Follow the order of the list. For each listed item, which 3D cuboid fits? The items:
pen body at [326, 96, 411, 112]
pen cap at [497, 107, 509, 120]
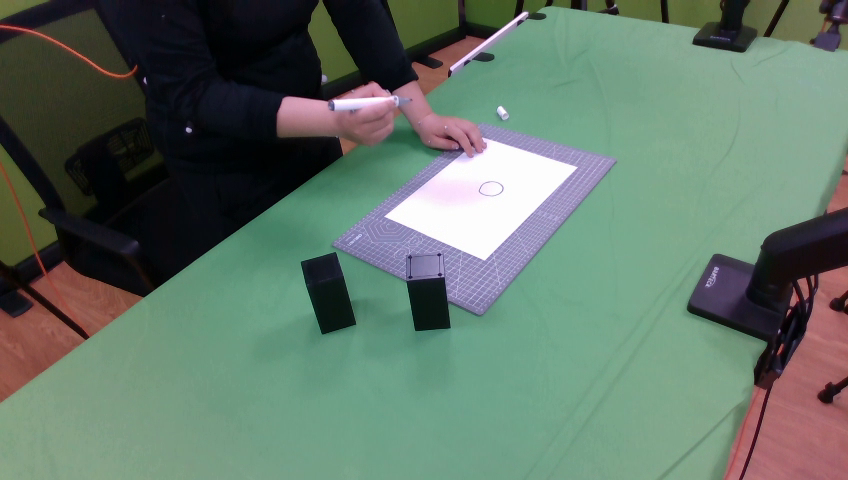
[{"bbox_3d":[-0.080,-0.208,0.916,0.145,0.017,0.016,-14,37,-32],"label":"pen body"},{"bbox_3d":[0.164,-0.264,1.262,0.017,0.017,0.038,-14,41,-7],"label":"pen cap"}]
